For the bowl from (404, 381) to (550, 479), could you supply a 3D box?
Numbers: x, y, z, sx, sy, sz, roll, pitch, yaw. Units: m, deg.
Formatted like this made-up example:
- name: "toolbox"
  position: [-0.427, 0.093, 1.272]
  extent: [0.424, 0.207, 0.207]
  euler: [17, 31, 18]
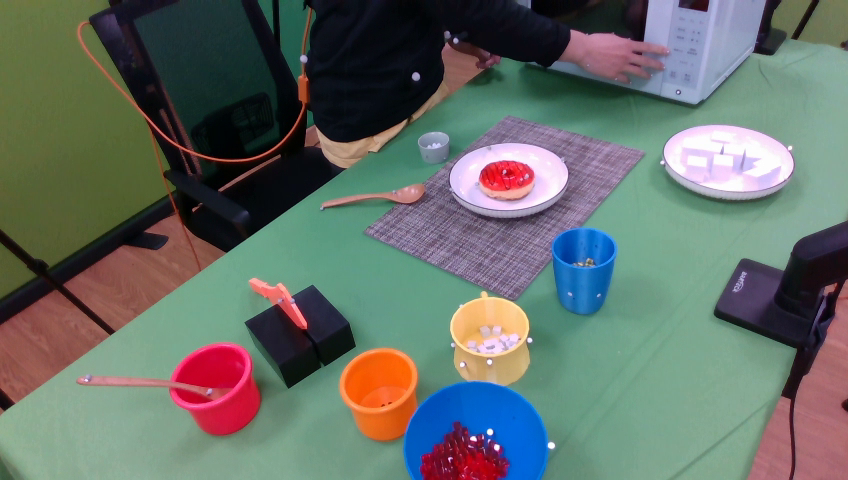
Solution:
- name: "bowl"
  position: [0.058, 0.235, 0.645]
  extent: [0.151, 0.077, 0.150]
  euler: [-4, 39, 4]

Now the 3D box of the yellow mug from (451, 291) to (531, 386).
- name: "yellow mug"
  position: [0.085, 0.120, 0.786]
  extent: [0.100, 0.064, 0.130]
  euler: [-7, 39, 1]

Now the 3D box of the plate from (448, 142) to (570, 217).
- name: "plate"
  position: [0.148, -0.101, 1.053]
  extent: [0.209, 0.038, 0.208]
  euler: [-4, 40, 4]

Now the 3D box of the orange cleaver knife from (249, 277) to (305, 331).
- name: "orange cleaver knife"
  position: [-0.210, 0.088, 0.856]
  extent: [0.012, 0.077, 0.210]
  euler: [-28, 15, -25]

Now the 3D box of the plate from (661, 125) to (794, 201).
- name: "plate"
  position: [0.514, -0.128, 1.035]
  extent: [0.207, 0.039, 0.206]
  euler: [-4, 40, 4]

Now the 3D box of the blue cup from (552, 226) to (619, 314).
- name: "blue cup"
  position: [0.218, 0.047, 0.826]
  extent: [0.092, 0.101, 0.092]
  euler: [-6, 40, 5]

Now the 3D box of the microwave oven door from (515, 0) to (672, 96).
- name: "microwave oven door"
  position: [0.344, -0.455, 1.260]
  extent: [0.353, 0.245, 0.039]
  euler: [26, 51, 33]

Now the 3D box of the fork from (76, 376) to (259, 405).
- name: "fork"
  position: [-0.295, 0.176, 0.716]
  extent: [0.209, 0.018, 0.028]
  euler: [20, 27, -37]

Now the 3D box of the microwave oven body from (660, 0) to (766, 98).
- name: "microwave oven body"
  position: [0.473, -0.513, 1.317]
  extent: [0.438, 0.261, 0.327]
  euler: [26, 51, 34]

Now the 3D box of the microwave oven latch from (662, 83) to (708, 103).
- name: "microwave oven latch"
  position: [0.518, -0.297, 1.204]
  extent: [0.078, 0.029, 0.030]
  euler: [28, 52, 35]

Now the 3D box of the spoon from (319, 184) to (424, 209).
- name: "spoon"
  position: [-0.094, -0.075, 1.074]
  extent: [0.193, 0.022, 0.041]
  euler: [-5, 58, 5]

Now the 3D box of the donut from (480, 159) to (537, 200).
- name: "donut"
  position: [0.145, -0.106, 1.042]
  extent: [0.099, 0.048, 0.098]
  euler: [-4, 38, 4]

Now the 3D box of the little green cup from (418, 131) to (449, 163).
- name: "little green cup"
  position: [0.019, -0.178, 1.168]
  extent: [0.061, 0.039, 0.061]
  euler: [-3, 41, 3]
